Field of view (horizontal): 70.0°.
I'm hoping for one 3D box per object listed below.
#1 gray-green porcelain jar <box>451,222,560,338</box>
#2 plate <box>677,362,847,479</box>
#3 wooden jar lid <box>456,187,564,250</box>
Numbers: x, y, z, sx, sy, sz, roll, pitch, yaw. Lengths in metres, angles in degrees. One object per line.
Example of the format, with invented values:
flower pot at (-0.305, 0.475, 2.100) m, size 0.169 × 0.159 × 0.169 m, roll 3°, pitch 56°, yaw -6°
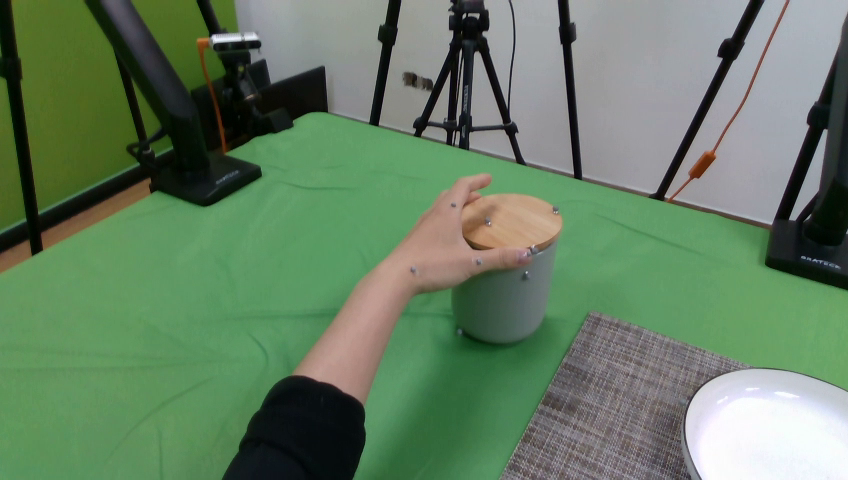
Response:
gray-green porcelain jar at (0.083, 0.033, 0.648) m, size 0.106 × 0.127 × 0.105 m, roll 1°, pitch 36°, yaw -1°
plate at (0.317, 0.191, 0.506) m, size 0.208 × 0.039 × 0.205 m, roll 2°, pitch 35°, yaw -1°
wooden jar lid at (0.086, -0.020, 0.610) m, size 0.108 × 0.021 × 0.107 m, roll -1°, pitch 35°, yaw 1°
